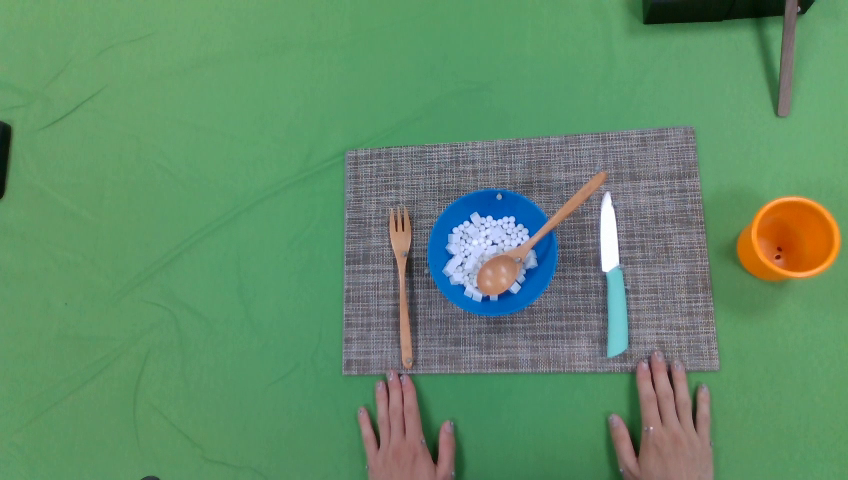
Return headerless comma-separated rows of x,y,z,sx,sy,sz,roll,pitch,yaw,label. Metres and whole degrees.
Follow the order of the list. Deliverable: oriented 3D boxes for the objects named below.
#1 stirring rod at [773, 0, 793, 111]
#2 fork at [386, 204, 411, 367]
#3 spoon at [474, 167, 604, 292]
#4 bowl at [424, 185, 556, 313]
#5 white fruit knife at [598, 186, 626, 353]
0.439,-0.247,0.739,0.014,0.006,0.176,0,98,5,stirring rod
-0.029,0.055,0.764,0.028,0.019,0.206,-4,76,-3,fork
0.131,-0.011,0.689,0.194,0.022,0.041,-45,81,17,spoon
0.080,0.017,0.726,0.151,0.077,0.150,-2,78,8,bowl
0.226,0.032,0.734,0.027,0.016,0.206,0,78,-2,white fruit knife
